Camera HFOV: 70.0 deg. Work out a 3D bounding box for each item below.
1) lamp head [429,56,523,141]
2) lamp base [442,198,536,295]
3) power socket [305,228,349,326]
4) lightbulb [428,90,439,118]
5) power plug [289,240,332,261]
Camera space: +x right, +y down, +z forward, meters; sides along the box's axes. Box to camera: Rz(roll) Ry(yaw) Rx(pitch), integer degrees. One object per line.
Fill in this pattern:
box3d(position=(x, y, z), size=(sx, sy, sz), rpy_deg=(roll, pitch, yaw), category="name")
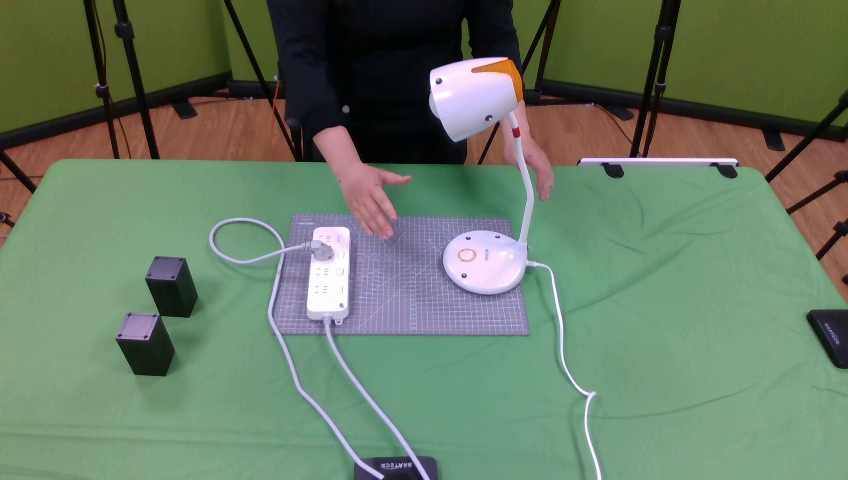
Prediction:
box3d(position=(0.082, -0.212, 0.882), size=(0.123, 0.113, 0.111), rpy_deg=(-13, 44, 14), category="lamp head")
box3d(position=(0.131, -0.013, 1.106), size=(0.179, 0.181, 0.159), rpy_deg=(0, 46, -8), category="lamp base")
box3d(position=(-0.177, 0.059, 1.115), size=(0.072, 0.033, 0.225), rpy_deg=(-1, 46, -4), category="power socket")
box3d(position=(0.057, -0.213, 0.889), size=(0.107, 0.060, 0.059), rpy_deg=(-12, 41, 22), category="lightbulb")
box3d(position=(-0.207, 0.022, 1.123), size=(0.072, 0.053, 0.035), rpy_deg=(6, 45, 5), category="power plug")
